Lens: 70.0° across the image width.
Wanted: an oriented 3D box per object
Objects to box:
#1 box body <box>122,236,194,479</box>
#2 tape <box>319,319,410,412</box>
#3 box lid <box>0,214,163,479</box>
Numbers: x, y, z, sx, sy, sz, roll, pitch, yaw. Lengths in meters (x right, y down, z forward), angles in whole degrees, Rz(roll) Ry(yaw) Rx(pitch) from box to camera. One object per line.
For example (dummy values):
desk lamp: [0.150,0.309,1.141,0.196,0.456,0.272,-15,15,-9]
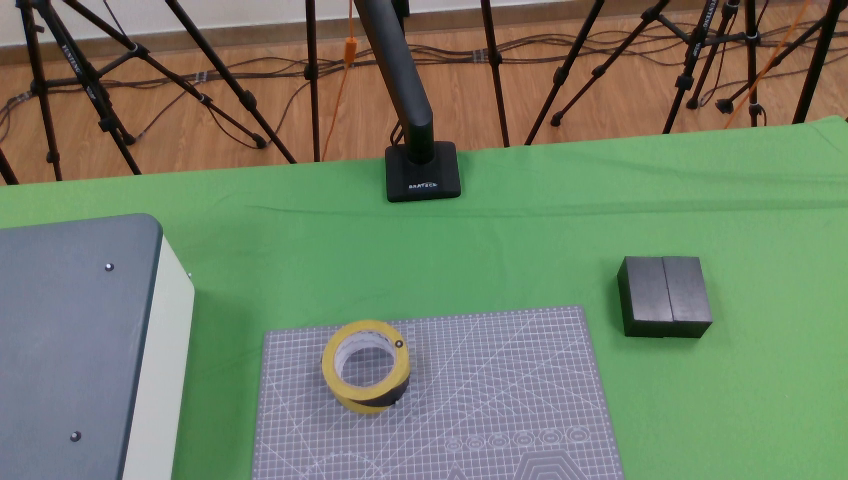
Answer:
box body: [-0.442,0.172,0.738,0.254,0.162,0.360,-6,56,-2]
tape: [-0.076,0.164,0.790,0.117,0.053,0.116,-1,57,2]
box lid: [-0.444,0.129,0.677,0.263,0.015,0.367,-6,57,-1]
